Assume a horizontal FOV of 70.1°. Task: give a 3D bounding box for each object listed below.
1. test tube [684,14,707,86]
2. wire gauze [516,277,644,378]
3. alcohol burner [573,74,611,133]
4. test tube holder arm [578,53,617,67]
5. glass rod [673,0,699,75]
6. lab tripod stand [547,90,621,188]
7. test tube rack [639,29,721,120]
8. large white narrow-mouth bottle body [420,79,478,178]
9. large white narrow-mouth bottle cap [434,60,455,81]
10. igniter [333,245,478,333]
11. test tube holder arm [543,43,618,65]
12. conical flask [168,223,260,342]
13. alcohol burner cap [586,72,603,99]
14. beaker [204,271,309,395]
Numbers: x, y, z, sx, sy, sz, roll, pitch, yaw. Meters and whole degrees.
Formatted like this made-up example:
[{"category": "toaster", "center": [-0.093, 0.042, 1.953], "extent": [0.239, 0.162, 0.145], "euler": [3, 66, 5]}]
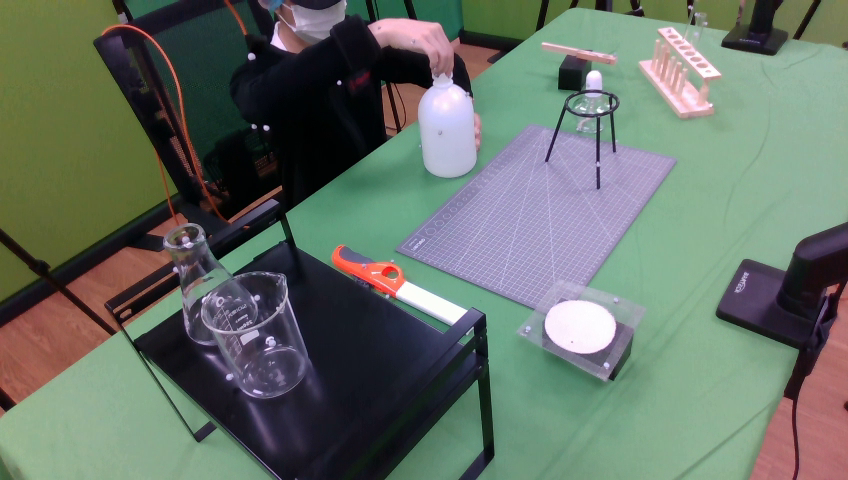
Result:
[{"category": "test tube", "center": [0.541, -0.379, 1.216], "extent": [0.017, 0.151, 0.017], "euler": [-2, 44, 2]}, {"category": "wire gauze", "center": [0.197, 0.103, 0.765], "extent": [0.124, 0.011, 0.122], "euler": [23, 50, 32]}, {"category": "alcohol burner", "center": [0.330, -0.270, 1.176], "extent": [0.078, 0.119, 0.077], "euler": [-4, 43, 4]}, {"category": "test tube holder arm", "center": [0.376, -0.393, 1.314], "extent": [0.087, 0.015, 0.010], "euler": [26, 51, 32]}, {"category": "glass rod", "center": [0.541, -0.427, 1.246], "extent": [0.008, 0.200, 0.008], "euler": [0, 48, 1]}, {"category": "lab tripod stand", "center": [0.289, -0.184, 1.062], "extent": [0.148, 0.132, 0.147], "euler": [-6, 41, 6]}, {"category": "test tube rack", "center": [0.527, -0.351, 1.262], "extent": [0.067, 0.085, 0.241], "euler": [-8, 40, 1]}, {"category": "large white narrow-mouth bottle body", "center": [0.043, -0.217, 1.098], "extent": [0.102, 0.195, 0.101], "euler": [-4, 40, 4]}, {"category": "large white narrow-mouth bottle cap", "center": [0.034, -0.291, 1.036], "extent": [0.038, 0.024, 0.037], "euler": [-4, 40, 4]}, {"category": "igniter", "center": [-0.038, 0.068, 0.905], "extent": [0.274, 0.025, 0.057], "euler": [24, 60, 32]}, {"category": "test tube holder arm", "center": [0.345, -0.413, 1.341], "extent": [0.177, 0.015, 0.013], "euler": [25, 50, 31]}, {"category": "conical flask", "center": [-0.219, 0.040, 0.614], "extent": [0.075, 0.122, 0.075], "euler": [-5, 40, 4]}, {"category": "alcohol burner cap", "center": [0.325, -0.297, 1.154], "extent": [0.034, 0.048, 0.033], "euler": [-8, 35, 6]}, {"category": "beaker", "center": [-0.149, 0.088, 0.565], "extent": [0.073, 0.101, 0.084], "euler": [20, 47, 29]}]
